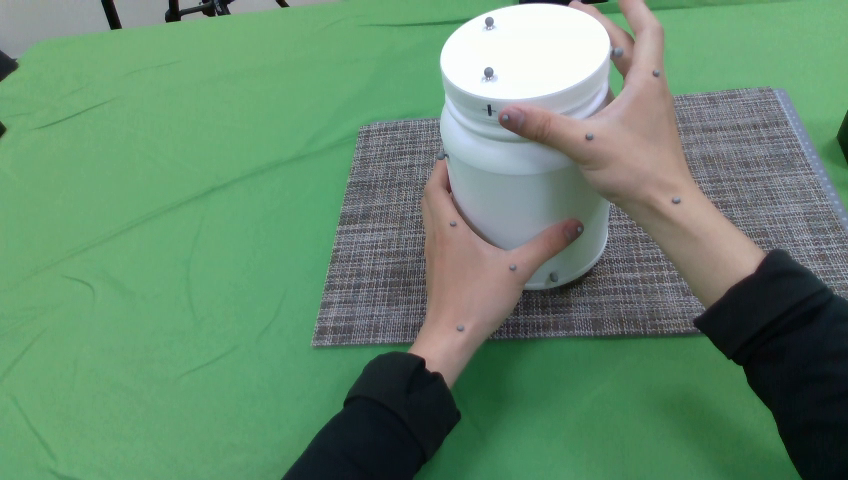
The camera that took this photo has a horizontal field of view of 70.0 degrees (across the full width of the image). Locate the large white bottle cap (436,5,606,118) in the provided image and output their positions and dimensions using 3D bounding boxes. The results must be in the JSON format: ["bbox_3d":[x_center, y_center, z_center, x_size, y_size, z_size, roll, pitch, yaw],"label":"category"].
[{"bbox_3d":[0.066,-0.125,0.416,0.115,0.018,0.113,-6,48,7],"label":"large white bottle cap"}]

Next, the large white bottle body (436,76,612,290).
[{"bbox_3d":[0.081,-0.062,0.484,0.130,0.186,0.129,-7,47,8],"label":"large white bottle body"}]
